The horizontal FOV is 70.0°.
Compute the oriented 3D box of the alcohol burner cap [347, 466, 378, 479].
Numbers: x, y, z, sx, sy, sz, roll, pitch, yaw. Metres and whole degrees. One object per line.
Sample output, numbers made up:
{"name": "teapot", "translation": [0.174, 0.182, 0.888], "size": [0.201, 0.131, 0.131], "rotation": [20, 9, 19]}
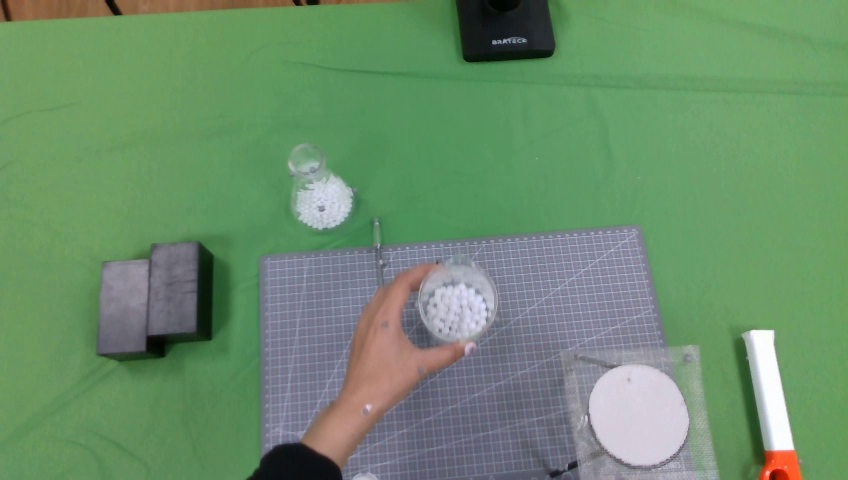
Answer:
{"name": "alcohol burner cap", "translation": [-0.063, 0.245, 0.608], "size": [0.034, 0.048, 0.033], "rotation": [1, 72, -2]}

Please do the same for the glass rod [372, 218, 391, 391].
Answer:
{"name": "glass rod", "translation": [-0.048, 0.069, 0.681], "size": [0.008, 0.008, 0.198], "rotation": [-5, 73, -4]}

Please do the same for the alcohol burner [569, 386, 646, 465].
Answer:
{"name": "alcohol burner", "translation": [0.186, 0.182, 0.598], "size": [0.078, 0.120, 0.077], "rotation": [0, 73, 1]}

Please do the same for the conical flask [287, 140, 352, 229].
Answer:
{"name": "conical flask", "translation": [-0.122, -0.065, 0.666], "size": [0.075, 0.122, 0.075], "rotation": [1, 72, -1]}

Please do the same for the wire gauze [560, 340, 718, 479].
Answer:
{"name": "wire gauze", "translation": [0.186, 0.150, 0.527], "size": [0.125, 0.011, 0.120], "rotation": [-2, 74, -2]}

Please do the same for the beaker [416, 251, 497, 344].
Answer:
{"name": "beaker", "translation": [0.030, 0.062, 0.598], "size": [0.074, 0.101, 0.083], "rotation": [3, 75, 1]}

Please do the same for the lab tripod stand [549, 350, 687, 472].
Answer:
{"name": "lab tripod stand", "translation": [0.184, 0.173, 0.590], "size": [0.148, 0.132, 0.147], "rotation": [1, 74, -1]}

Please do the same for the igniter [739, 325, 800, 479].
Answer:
{"name": "igniter", "translation": [0.372, 0.227, 0.638], "size": [0.057, 0.025, 0.275], "rotation": [3, 72, -12]}
